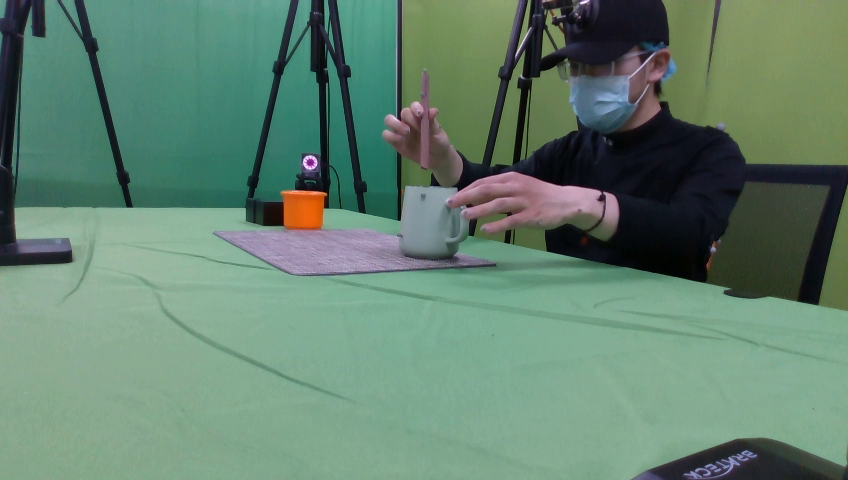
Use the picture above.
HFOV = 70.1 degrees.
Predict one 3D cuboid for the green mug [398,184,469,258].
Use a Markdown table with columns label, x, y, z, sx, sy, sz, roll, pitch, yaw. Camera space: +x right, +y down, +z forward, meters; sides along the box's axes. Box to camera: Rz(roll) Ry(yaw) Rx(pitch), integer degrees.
| label | x | y | z | sx | sy | sz | roll | pitch | yaw |
| --- | --- | --- | --- | --- | --- | --- | --- | --- | --- |
| green mug | 0.020 | -0.028 | 0.890 | 0.093 | 0.105 | 0.124 | -4 | 9 | -41 |

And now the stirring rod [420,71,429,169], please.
| label | x | y | z | sx | sy | sz | roll | pitch | yaw |
| --- | --- | --- | --- | --- | --- | --- | --- | --- | --- |
| stirring rod | 0.001 | -0.192 | 0.955 | 0.014 | 0.176 | 0.006 | 17 | -26 | -37 |
